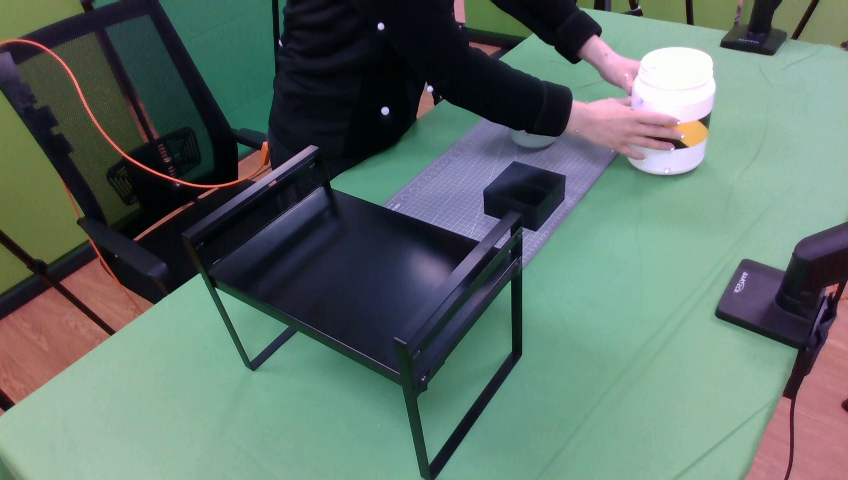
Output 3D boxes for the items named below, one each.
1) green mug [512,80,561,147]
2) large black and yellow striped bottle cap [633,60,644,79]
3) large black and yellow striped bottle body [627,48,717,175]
[{"bbox_3d":[0.218,-0.251,1.169,0.092,0.105,0.125,2,42,13],"label":"green mug"},{"bbox_3d":[0.522,-0.370,1.331,0.115,0.019,0.114,-4,41,4],"label":"large black and yellow striped bottle cap"},{"bbox_3d":[0.422,-0.219,1.035,0.131,0.185,0.130,-6,40,5],"label":"large black and yellow striped bottle body"}]
